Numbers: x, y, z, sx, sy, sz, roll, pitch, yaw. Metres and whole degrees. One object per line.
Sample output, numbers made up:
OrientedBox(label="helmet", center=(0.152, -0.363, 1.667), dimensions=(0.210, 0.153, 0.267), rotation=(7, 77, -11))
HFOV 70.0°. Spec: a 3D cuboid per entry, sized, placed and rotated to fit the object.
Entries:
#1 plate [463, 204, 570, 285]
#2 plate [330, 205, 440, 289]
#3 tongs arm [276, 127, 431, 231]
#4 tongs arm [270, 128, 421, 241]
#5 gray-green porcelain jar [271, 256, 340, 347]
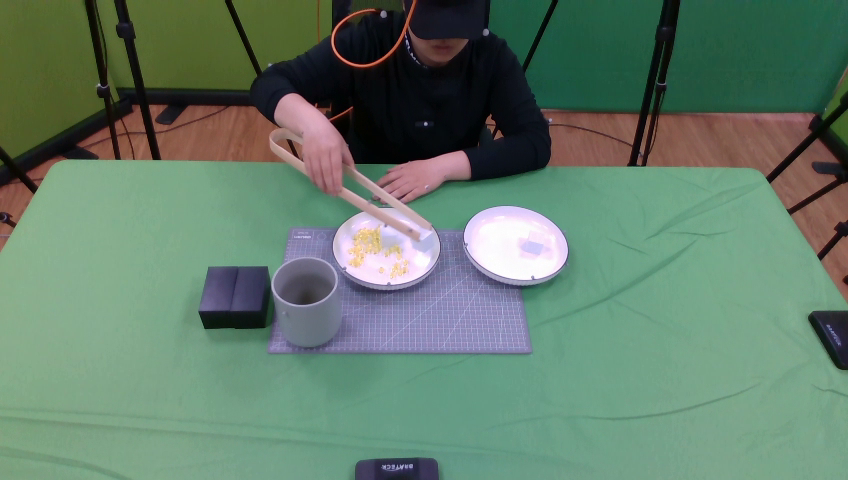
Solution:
OrientedBox(label="plate", center=(0.178, 0.012, 1.184), dimensions=(0.209, 0.038, 0.208), rotation=(3, 46, -3))
OrientedBox(label="plate", center=(-0.074, 0.017, 1.160), dimensions=(0.208, 0.039, 0.206), rotation=(2, 46, -2))
OrientedBox(label="tongs arm", center=(-0.141, -0.123, 1.176), dimensions=(0.386, 0.028, 0.028), rotation=(34, 56, 19))
OrientedBox(label="tongs arm", center=(-0.155, -0.111, 1.163), dimensions=(0.383, 0.026, 0.050), rotation=(30, 51, 16))
OrientedBox(label="gray-green porcelain jar", center=(-0.193, 0.107, 1.004), dimensions=(0.106, 0.127, 0.105), rotation=(2, 46, -2))
